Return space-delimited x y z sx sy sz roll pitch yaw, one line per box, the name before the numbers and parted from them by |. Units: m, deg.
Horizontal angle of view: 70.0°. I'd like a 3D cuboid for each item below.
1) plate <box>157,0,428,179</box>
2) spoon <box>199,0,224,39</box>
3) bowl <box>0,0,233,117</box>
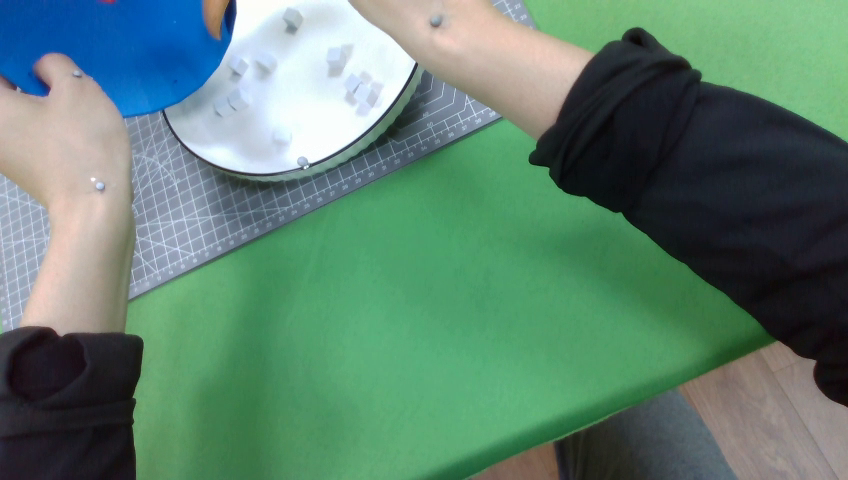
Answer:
plate | -0.094 -0.137 0.430 0.208 0.038 0.208 -4 74 15
spoon | -0.083 -0.169 0.312 0.193 0.022 0.041 -28 60 46
bowl | -0.203 -0.161 0.374 0.151 0.153 0.076 -43 44 1
